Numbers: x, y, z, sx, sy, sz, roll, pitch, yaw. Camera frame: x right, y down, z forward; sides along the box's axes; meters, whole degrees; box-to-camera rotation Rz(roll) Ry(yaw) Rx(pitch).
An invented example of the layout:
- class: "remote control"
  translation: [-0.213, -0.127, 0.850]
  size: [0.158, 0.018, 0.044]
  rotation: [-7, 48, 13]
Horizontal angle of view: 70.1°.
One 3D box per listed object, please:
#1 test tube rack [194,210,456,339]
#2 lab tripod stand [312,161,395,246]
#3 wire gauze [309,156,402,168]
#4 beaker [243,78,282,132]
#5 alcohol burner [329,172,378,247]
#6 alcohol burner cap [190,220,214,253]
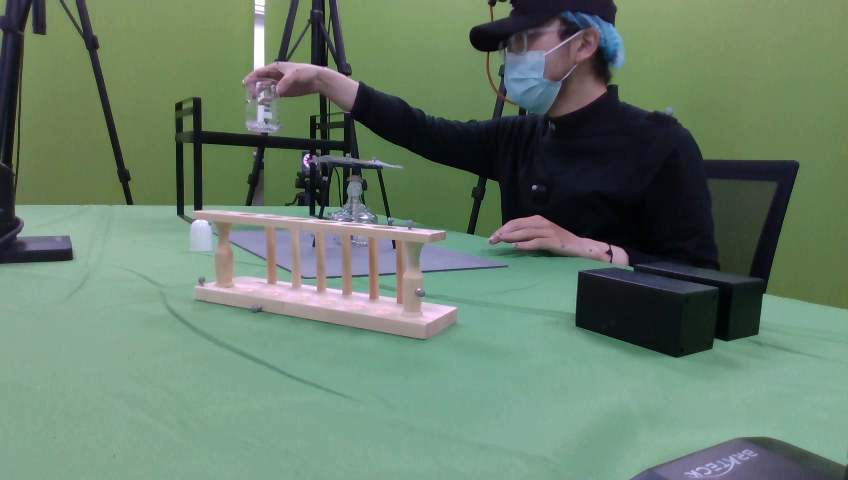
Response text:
- class: "test tube rack"
  translation: [-0.093, 0.023, 0.545]
  size: [0.241, 0.085, 0.067]
  rotation: [6, 8, 25]
- class: "lab tripod stand"
  translation: [-0.110, -0.058, 0.970]
  size: [0.148, 0.131, 0.148]
  rotation: [4, 6, 0]
- class: "wire gauze"
  translation: [-0.111, -0.124, 0.956]
  size: [0.125, 0.011, 0.121]
  rotation: [2, 7, -22]
- class: "beaker"
  translation: [-0.335, -0.277, 1.248]
  size: [0.084, 0.100, 0.073]
  rotation: [-1, 4, -44]
- class: "alcohol burner"
  translation: [-0.113, -0.049, 0.972]
  size: [0.078, 0.119, 0.078]
  rotation: [1, 9, 0]
- class: "alcohol burner cap"
  translation: [-0.322, -0.006, 0.875]
  size: [0.034, 0.048, 0.034]
  rotation: [3, 8, 0]
